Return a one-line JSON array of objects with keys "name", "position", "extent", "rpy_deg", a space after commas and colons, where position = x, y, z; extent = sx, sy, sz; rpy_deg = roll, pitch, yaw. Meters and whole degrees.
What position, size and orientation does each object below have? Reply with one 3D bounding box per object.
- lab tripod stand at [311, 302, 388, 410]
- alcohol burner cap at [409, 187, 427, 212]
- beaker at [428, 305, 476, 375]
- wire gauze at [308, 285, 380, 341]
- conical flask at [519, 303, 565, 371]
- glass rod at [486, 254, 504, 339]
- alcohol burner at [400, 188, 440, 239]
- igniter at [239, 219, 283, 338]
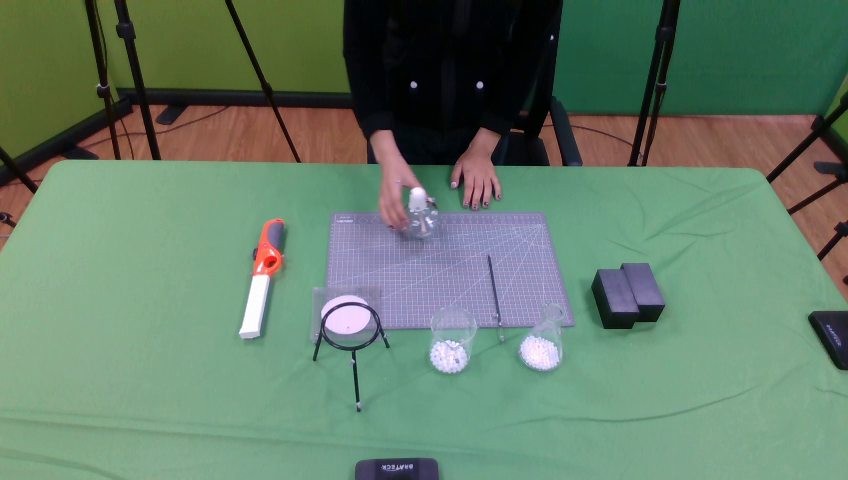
[{"name": "lab tripod stand", "position": [-0.113, 0.168, 0.951], "extent": [0.148, 0.132, 0.147], "rpy_deg": [2, 44, -2]}, {"name": "alcohol burner cap", "position": [-0.011, -0.077, 1.124], "extent": [0.034, 0.048, 0.033], "rpy_deg": [1, 56, -1]}, {"name": "beaker", "position": [0.044, 0.169, 0.987], "extent": [0.074, 0.101, 0.083], "rpy_deg": [1, 47, -3]}, {"name": "wire gauze", "position": [-0.141, 0.128, 1.071], "extent": [0.125, 0.011, 0.120], "rpy_deg": [-1, 46, -5]}, {"name": "conical flask", "position": [0.201, 0.155, 0.997], "extent": [0.075, 0.122, 0.075], "rpy_deg": [2, 46, -2]}, {"name": "glass rod", "position": [0.130, 0.099, 1.119], "extent": [0.008, 0.008, 0.198], "rpy_deg": [-1, 46, -4]}, {"name": "alcohol burner", "position": [-0.009, -0.057, 1.154], "extent": [0.078, 0.120, 0.077], "rpy_deg": [-2, 52, 3]}, {"name": "igniter", "position": [-0.297, 0.061, 1.113], "extent": [0.057, 0.025, 0.274], "rpy_deg": [-5, 46, 4]}]
